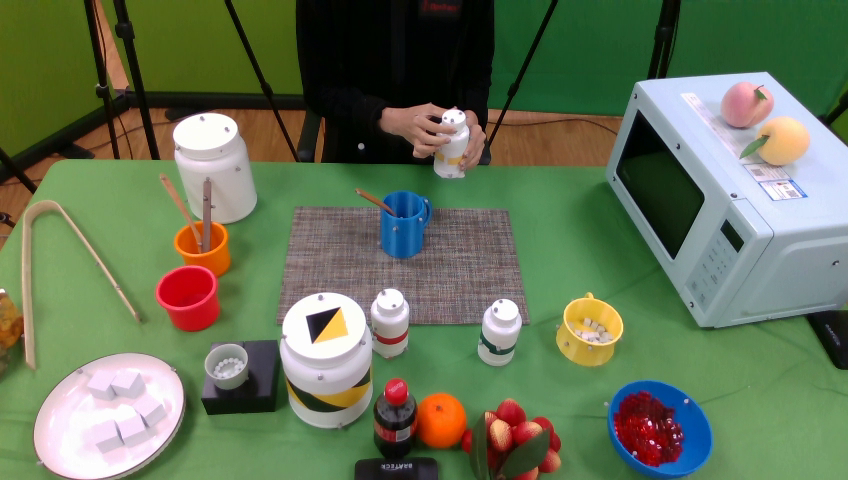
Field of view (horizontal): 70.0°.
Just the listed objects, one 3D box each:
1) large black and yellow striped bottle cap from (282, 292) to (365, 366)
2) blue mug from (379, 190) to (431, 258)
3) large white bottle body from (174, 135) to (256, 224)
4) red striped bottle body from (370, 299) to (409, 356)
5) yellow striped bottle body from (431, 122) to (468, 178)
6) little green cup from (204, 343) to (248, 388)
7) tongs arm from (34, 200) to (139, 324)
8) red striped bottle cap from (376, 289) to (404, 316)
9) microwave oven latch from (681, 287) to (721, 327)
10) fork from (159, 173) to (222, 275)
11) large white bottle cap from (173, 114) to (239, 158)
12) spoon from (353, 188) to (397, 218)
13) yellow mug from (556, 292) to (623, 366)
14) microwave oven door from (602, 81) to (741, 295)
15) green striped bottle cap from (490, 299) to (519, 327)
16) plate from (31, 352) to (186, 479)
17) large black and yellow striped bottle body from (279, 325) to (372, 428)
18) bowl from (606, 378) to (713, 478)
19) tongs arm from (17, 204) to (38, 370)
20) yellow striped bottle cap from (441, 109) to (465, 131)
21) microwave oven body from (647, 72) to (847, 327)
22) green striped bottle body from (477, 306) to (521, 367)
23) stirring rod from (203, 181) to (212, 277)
[{"bbox_3d":[-0.138,0.121,0.841,0.115,0.019,0.114,3,47,-3],"label":"large black and yellow striped bottle cap"},{"bbox_3d":[-0.032,-0.037,1.169,0.116,0.106,0.082,-29,55,-28],"label":"blue mug"},{"bbox_3d":[-0.407,-0.137,1.183,0.131,0.185,0.130,2,46,-2],"label":"large white bottle body"},{"bbox_3d":[-0.058,0.134,0.997,0.063,0.120,0.062,4,47,-4],"label":"red striped bottle body"},{"bbox_3d":[0.049,-0.181,1.151,0.063,0.121,0.062,3,49,-3],"label":"yellow striped bottle body"},{"bbox_3d":[-0.294,0.190,0.909,0.061,0.039,0.061,1,48,0],"label":"little green cup"},{"bbox_3d":[-0.622,0.034,1.105,0.051,0.026,0.382,-32,56,-26],"label":"tongs arm"},{"bbox_3d":[-0.054,0.098,0.958,0.044,0.018,0.044,0,48,0],"label":"red striped bottle cap"},{"bbox_3d":[0.494,0.119,1.087,0.030,0.029,0.078,-6,46,-9],"label":"microwave oven latch"},{"bbox_3d":[-0.427,-0.029,1.103,0.028,0.018,0.207,-31,99,-30],"label":"fork"},{"bbox_3d":[-0.403,-0.195,1.122,0.115,0.018,0.114,2,47,-2],"label":"large white bottle cap"},{"bbox_3d":[-0.069,-0.053,1.121,0.021,0.195,0.041,-36,51,11],"label":"spoon"},{"bbox_3d":[0.285,0.145,1.051,0.100,0.064,0.130,7,45,3],"label":"yellow mug"},{"bbox_3d":[0.456,-0.107,1.162,0.039,0.245,0.353,-7,47,-11],"label":"microwave oven door"},{"bbox_3d":[0.128,0.115,0.958,0.044,0.020,0.044,2,47,-2],"label":"green striped bottle cap"},{"bbox_3d":[-0.459,0.262,0.898,0.209,0.038,0.208,2,46,-2],"label":"plate"},{"bbox_3d":[-0.143,0.181,0.900,0.131,0.185,0.130,2,46,-2],"label":"large black and yellow striped bottle body"},{"bbox_3d":[0.340,0.292,0.906,0.151,0.077,0.150,2,46,-2],"label":"bowl"},{"bbox_3d":[-0.698,0.069,1.068,0.028,0.028,0.385,-20,50,-13],"label":"tongs arm"},{"bbox_3d":[0.052,-0.220,1.109,0.044,0.019,0.044,-2,49,2],"label":"yellow striped bottle cap"},{"bbox_3d":[0.607,-0.089,1.164,0.326,0.261,0.438,-7,46,-10],"label":"microwave oven body"},{"bbox_3d":[0.124,0.151,0.995,0.063,0.120,0.063,2,46,-1],"label":"green striped bottle body"},{"bbox_3d":[-0.396,-0.021,1.108,0.014,0.006,0.176,-1,89,-1],"label":"stirring rod"}]
